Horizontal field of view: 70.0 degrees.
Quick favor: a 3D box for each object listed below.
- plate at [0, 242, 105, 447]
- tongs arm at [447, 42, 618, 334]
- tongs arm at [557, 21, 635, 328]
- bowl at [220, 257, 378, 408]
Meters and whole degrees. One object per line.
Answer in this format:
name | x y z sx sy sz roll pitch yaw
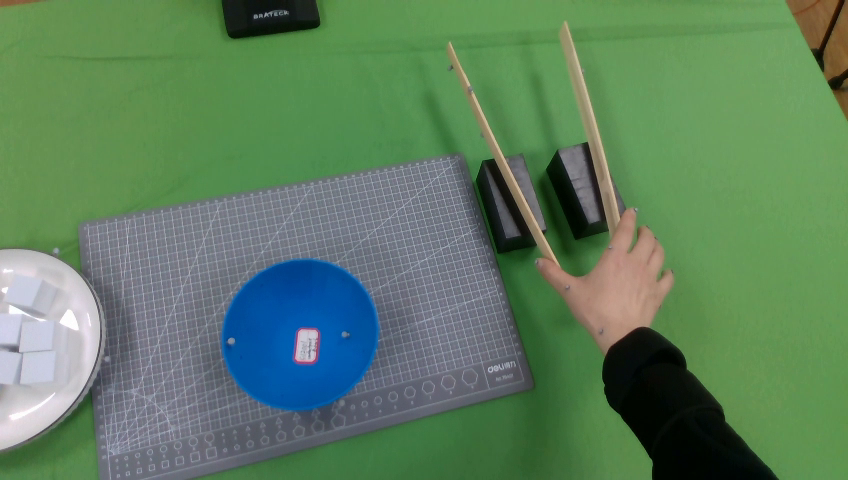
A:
plate | -0.428 0.105 0.613 0.208 0.039 0.206 2 71 -4
tongs arm | 0.114 -0.070 0.685 0.051 0.026 0.382 -17 72 -12
tongs arm | 0.192 -0.088 0.697 0.028 0.028 0.384 -3 71 -11
bowl | -0.123 0.100 0.622 0.151 0.077 0.150 2 70 -5
